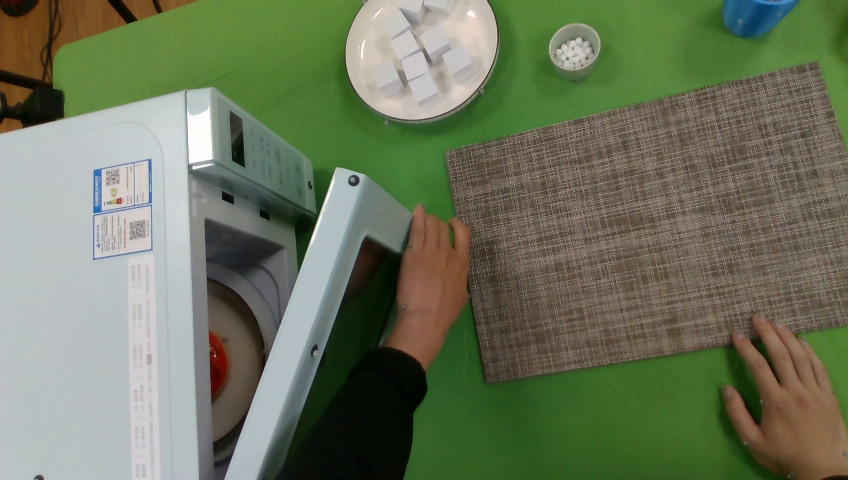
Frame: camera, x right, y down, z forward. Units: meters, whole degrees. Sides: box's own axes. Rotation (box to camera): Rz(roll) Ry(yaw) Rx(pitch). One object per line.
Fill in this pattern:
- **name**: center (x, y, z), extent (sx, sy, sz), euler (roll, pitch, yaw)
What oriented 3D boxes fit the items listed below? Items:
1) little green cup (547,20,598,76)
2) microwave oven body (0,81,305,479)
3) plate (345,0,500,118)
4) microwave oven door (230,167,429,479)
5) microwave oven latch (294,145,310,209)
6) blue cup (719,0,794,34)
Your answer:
- **little green cup**: center (0.185, -0.236, 0.756), extent (0.061, 0.039, 0.061), euler (-2, 80, 14)
- **microwave oven body**: center (-0.312, 0.097, 0.700), extent (0.325, 0.261, 0.439), euler (-9, 80, 11)
- **plate**: center (-0.002, -0.257, 0.803), extent (0.207, 0.039, 0.207), euler (-2, 80, 13)
- **microwave oven door**: center (-0.093, 0.121, 0.639), extent (0.039, 0.245, 0.355), euler (17, 85, 17)
- **microwave oven latch**: center (-0.166, -0.082, 0.795), extent (0.030, 0.029, 0.079), euler (-5, 81, 12)
- **blue cup**: center (0.379, -0.284, 0.684), extent (0.092, 0.101, 0.092), euler (-2, 82, 12)
